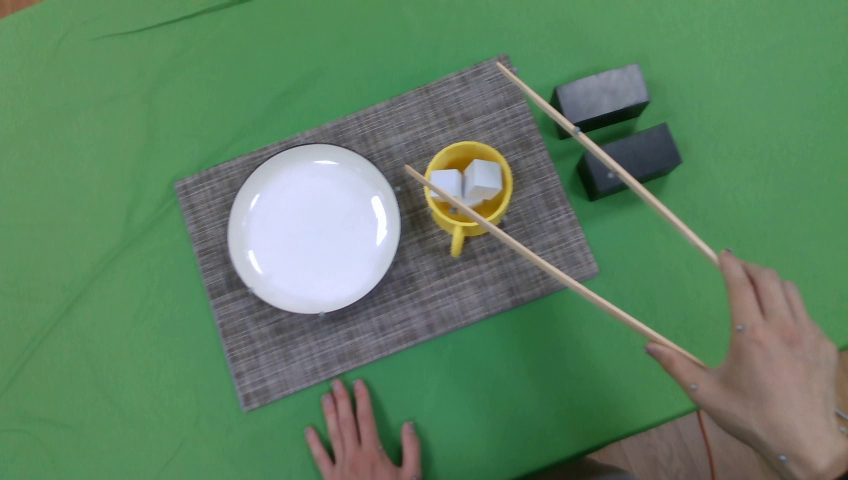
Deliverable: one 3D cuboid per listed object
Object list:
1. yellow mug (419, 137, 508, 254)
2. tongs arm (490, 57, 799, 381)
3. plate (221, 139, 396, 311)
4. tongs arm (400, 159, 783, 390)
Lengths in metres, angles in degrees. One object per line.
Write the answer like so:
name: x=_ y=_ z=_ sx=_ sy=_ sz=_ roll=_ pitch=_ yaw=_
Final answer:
yellow mug: x=0.043 y=-0.048 z=0.706 sx=0.100 sy=0.064 sz=0.130 roll=10 pitch=82 yaw=4
tongs arm: x=0.173 y=-0.036 z=0.539 sx=0.051 sy=0.027 sz=0.381 roll=-44 pitch=66 yaw=3
plate: x=-0.136 y=-0.017 z=0.727 sx=0.207 sy=0.039 sz=0.207 roll=0 pitch=81 yaw=3
tongs arm: x=0.123 y=0.020 z=0.544 sx=0.384 sy=0.028 sz=0.028 roll=35 pitch=85 yaw=24
